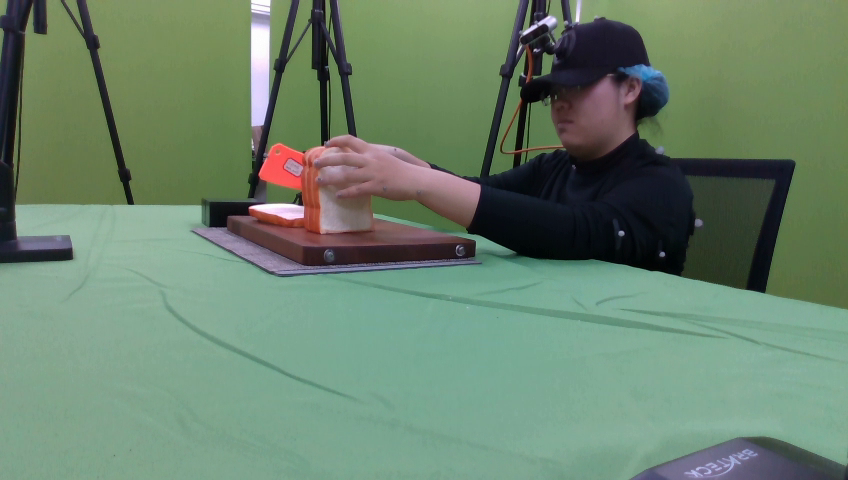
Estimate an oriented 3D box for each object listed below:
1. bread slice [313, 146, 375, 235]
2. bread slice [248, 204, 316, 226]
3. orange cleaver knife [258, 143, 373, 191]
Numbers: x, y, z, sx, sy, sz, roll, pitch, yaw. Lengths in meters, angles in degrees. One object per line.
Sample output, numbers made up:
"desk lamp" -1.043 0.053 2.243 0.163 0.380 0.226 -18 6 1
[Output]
"bread slice" -0.126 -0.075 0.919 0.018 0.134 0.107 -4 3 44
"bread slice" -0.228 -0.043 1.022 0.131 0.019 0.105 14 14 38
"orange cleaver knife" -0.191 -0.124 1.085 0.212 0.077 0.012 4 19 -35
